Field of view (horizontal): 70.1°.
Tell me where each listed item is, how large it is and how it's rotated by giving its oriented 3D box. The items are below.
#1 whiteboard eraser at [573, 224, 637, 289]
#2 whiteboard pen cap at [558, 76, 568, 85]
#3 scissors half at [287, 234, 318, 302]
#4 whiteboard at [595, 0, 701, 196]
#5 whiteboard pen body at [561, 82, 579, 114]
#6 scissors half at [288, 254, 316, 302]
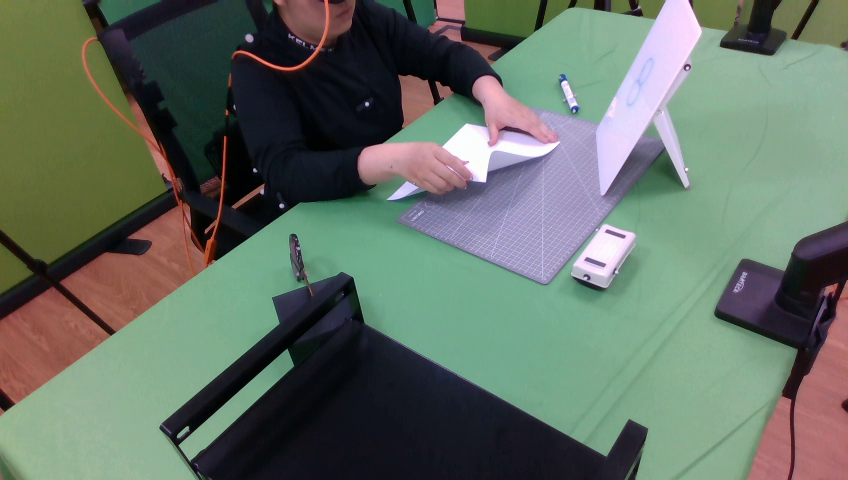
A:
[{"bbox_3d":[0.267,0.025,0.891,0.055,0.042,0.113,19,47,31],"label":"whiteboard eraser"},{"bbox_3d":[0.309,-0.350,1.340,0.018,0.018,0.033,-7,41,1],"label":"whiteboard pen cap"},{"bbox_3d":[-0.178,0.040,0.885,0.013,0.040,0.173,-11,36,-21],"label":"scissors half"},{"bbox_3d":[0.421,-0.227,1.010,0.144,0.305,0.216,18,42,-2],"label":"whiteboard"},{"bbox_3d":[0.310,-0.311,1.298,0.017,0.017,0.140,-6,41,2],"label":"whiteboard pen body"},{"bbox_3d":[-0.178,0.058,0.894,0.013,0.040,0.174,-15,20,-18],"label":"scissors half"}]
